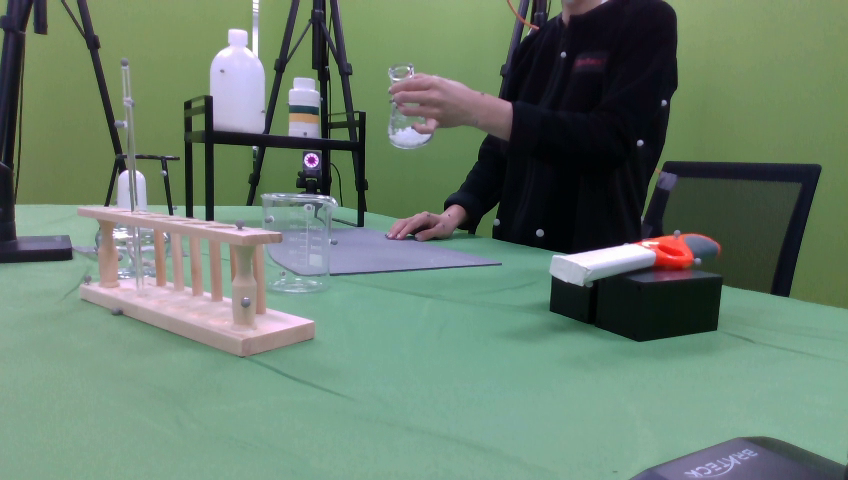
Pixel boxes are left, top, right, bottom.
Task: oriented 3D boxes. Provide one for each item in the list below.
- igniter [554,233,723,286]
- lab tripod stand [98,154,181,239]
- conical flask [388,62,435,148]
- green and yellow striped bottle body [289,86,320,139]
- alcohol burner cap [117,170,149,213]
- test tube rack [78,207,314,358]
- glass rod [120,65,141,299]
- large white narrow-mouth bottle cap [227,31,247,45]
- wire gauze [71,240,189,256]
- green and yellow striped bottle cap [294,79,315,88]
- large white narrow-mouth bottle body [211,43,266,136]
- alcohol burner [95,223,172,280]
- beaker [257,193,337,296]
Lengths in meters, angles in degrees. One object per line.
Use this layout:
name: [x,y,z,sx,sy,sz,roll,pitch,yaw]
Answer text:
igniter: [0.214,0.015,0.570,0.278,0.025,0.057,-5,22,-44]
lab tripod stand: [-0.427,-0.066,0.942,0.148,0.131,0.148,1,6,0]
conical flask: [-0.026,-0.207,0.918,0.075,0.122,0.075,-5,44,5]
green and yellow striped bottle body: [-0.250,-0.272,1.261,0.063,0.119,0.063,3,7,0]
alcohol burner cap: [-0.320,-0.052,0.661,0.034,0.048,0.034,-3,-1,0]
test tube rack: [-0.196,0.024,0.500,0.241,0.085,0.067,8,8,37]
glass rod: [-0.249,-0.047,0.513,0.008,0.199,0.008,-1,4,0]
large white narrow-mouth bottle cap: [-0.361,-0.388,1.166,0.038,0.024,0.037,1,7,0]
wire gauze: [-0.399,0.013,0.820,0.126,0.011,0.121,-3,8,-37]
green and yellow striped bottle cap: [-0.248,-0.323,1.256,0.045,0.020,0.045,3,9,0]
large white narrow-mouth bottle body: [-0.361,-0.302,1.176,0.102,0.194,0.102,1,7,0]
alcohol burner: [-0.320,-0.017,0.667,0.078,0.119,0.078,0,7,0]
beaker: [-0.130,0.003,0.628,0.084,0.100,0.074,5,8,15]
